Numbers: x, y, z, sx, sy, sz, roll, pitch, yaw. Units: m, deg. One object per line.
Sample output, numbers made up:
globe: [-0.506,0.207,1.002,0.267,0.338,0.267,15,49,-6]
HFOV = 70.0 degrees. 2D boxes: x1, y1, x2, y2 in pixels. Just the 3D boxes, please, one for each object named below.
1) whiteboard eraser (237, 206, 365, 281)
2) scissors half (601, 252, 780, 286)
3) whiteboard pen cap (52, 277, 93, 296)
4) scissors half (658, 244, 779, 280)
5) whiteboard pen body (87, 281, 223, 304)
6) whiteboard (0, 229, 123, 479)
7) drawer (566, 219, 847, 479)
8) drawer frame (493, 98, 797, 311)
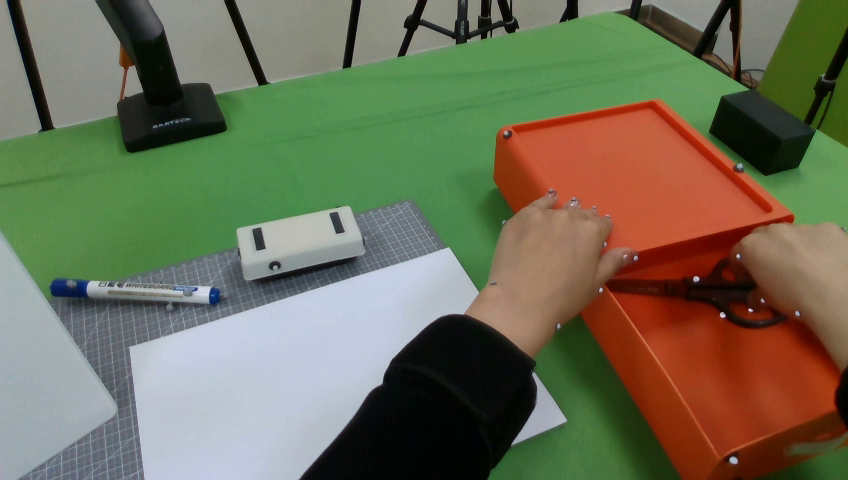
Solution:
whiteboard eraser: [-0.117,0.005,0.576,0.113,0.042,0.055,-14,43,-14]
scissors half: [0.235,0.030,0.567,0.174,0.040,0.012,-5,44,19]
whiteboard pen cap: [-0.313,0.042,0.544,0.033,0.018,0.018,3,43,-4]
scissors half: [0.240,0.038,0.575,0.175,0.040,0.012,-17,45,32]
whiteboard pen body: [-0.253,0.046,0.545,0.141,0.017,0.017,3,43,-1]
whiteboard: [-0.388,0.042,0.387,0.217,0.308,0.142,-34,33,-30]
drawer: [0.248,0.071,0.485,0.195,0.074,0.209,-13,44,-12]
drawer frame: [0.200,-0.042,0.600,0.202,0.083,0.211,-13,44,-13]
